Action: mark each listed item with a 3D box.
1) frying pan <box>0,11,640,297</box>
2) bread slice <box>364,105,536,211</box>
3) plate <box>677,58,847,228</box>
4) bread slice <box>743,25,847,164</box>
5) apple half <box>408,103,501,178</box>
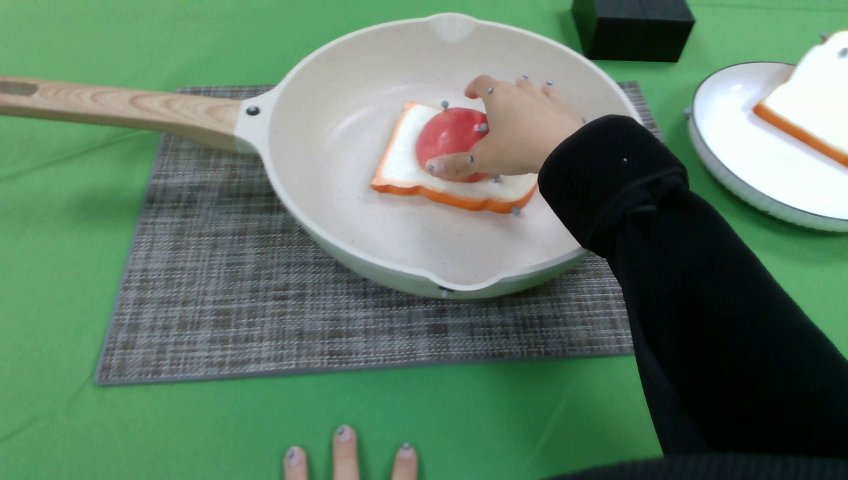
[{"bbox_3d":[-0.085,-0.084,0.469,0.489,0.103,0.303,7,50,-9],"label":"frying pan"},{"bbox_3d":[0.027,-0.070,0.517,0.134,0.018,0.106,8,52,6],"label":"bread slice"},{"bbox_3d":[0.329,-0.087,0.546,0.208,0.039,0.205,2,52,-2],"label":"plate"},{"bbox_3d":[0.385,-0.146,0.570,0.104,0.019,0.131,39,80,22],"label":"bread slice"},{"bbox_3d":[0.024,-0.088,0.498,0.081,0.033,0.080,0,51,0],"label":"apple half"}]
